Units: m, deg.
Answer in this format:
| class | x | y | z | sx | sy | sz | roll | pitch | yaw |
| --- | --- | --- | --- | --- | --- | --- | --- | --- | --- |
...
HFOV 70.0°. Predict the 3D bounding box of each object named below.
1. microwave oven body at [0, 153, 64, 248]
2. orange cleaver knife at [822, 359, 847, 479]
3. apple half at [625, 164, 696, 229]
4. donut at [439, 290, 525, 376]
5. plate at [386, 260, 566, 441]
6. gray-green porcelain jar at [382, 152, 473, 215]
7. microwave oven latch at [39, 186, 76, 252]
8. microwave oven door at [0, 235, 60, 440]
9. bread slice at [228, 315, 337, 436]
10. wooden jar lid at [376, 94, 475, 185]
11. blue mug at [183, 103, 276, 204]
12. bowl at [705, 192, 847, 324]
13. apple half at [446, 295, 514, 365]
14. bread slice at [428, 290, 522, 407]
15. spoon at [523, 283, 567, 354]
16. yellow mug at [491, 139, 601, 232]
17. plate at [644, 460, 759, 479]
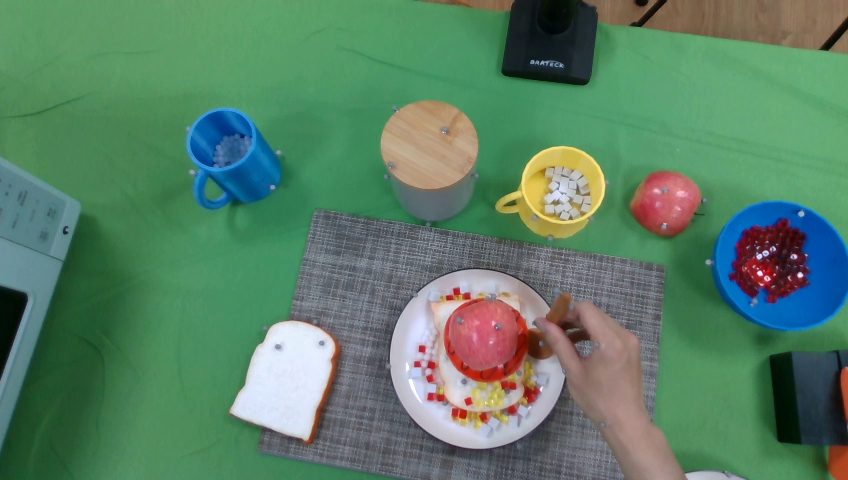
| class | x | y | z | sx | sy | sz | roll | pitch | yaw |
| --- | --- | --- | --- | --- | --- | --- | --- | --- | --- |
| microwave oven body | -0.643 | 0.093 | 0.631 | 0.326 | 0.261 | 0.439 | 9 | 77 | 4 |
| orange cleaver knife | 0.460 | 0.237 | 0.654 | 0.012 | 0.077 | 0.211 | -1 | 97 | -5 |
| apple half | 0.296 | -0.060 | 0.751 | 0.074 | 0.053 | 0.080 | 31 | 79 | 12 |
| donut | 0.066 | 0.106 | 0.691 | 0.099 | 0.048 | 0.098 | -1 | 76 | 3 |
| plate | 0.060 | 0.128 | 0.714 | 0.207 | 0.039 | 0.206 | 0 | 76 | 2 |
| gray-green porcelain jar | 0.005 | -0.092 | 0.731 | 0.106 | 0.127 | 0.105 | 0 | 75 | 2 |
| microwave oven latch | -0.463 | -0.027 | 0.755 | 0.030 | 0.029 | 0.079 | 13 | 77 | 5 |
| microwave oven door | -0.507 | 0.155 | 0.605 | 0.039 | 0.245 | 0.354 | 9 | 76 | 5 |
| bread slice | -0.165 | 0.155 | 0.726 | 0.105 | 0.019 | 0.131 | 16 | 78 | 5 |
| wooden jar lid | 0.001 | -0.109 | 0.669 | 0.108 | 0.021 | 0.108 | 0 | 74 | -1 |
| blue mug | -0.246 | -0.095 | 0.750 | 0.082 | 0.106 | 0.116 | 30 | 78 | 9 |
| bowl | 0.397 | 0.028 | 0.711 | 0.151 | 0.077 | 0.150 | -1 | 76 | 2 |
| apple half | 0.062 | 0.095 | 0.656 | 0.081 | 0.033 | 0.081 | -2 | 72 | 8 |
| bread slice | 0.066 | 0.128 | 0.716 | 0.107 | 0.018 | 0.133 | -7 | 74 | 1 |
| spoon | 0.126 | 0.086 | 0.634 | 0.041 | 0.195 | 0.021 | 39 | 74 | 16 |
| yellow mug | 0.147 | -0.062 | 0.749 | 0.131 | 0.064 | 0.099 | -13 | 75 | 0 |
| plate | 0.304 | 0.346 | 0.654 | 0.209 | 0.038 | 0.208 | -1 | 75 | 2 |
